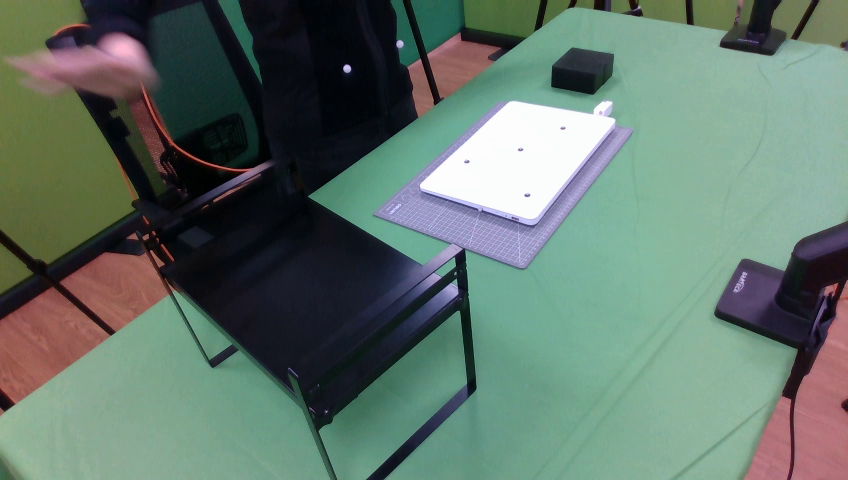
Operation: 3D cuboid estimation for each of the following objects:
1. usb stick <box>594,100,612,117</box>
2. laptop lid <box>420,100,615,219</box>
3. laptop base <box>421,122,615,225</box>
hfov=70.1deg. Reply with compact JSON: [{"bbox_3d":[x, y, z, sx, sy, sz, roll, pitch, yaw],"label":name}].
[{"bbox_3d":[0.353,-0.254,1.204,0.021,0.027,0.059,20,47,30],"label":"usb stick"},{"bbox_3d":[0.180,-0.166,1.125,0.240,0.013,0.357,20,47,31],"label":"laptop lid"},{"bbox_3d":[0.184,-0.156,1.132,0.234,0.023,0.355,18,46,31],"label":"laptop base"}]
